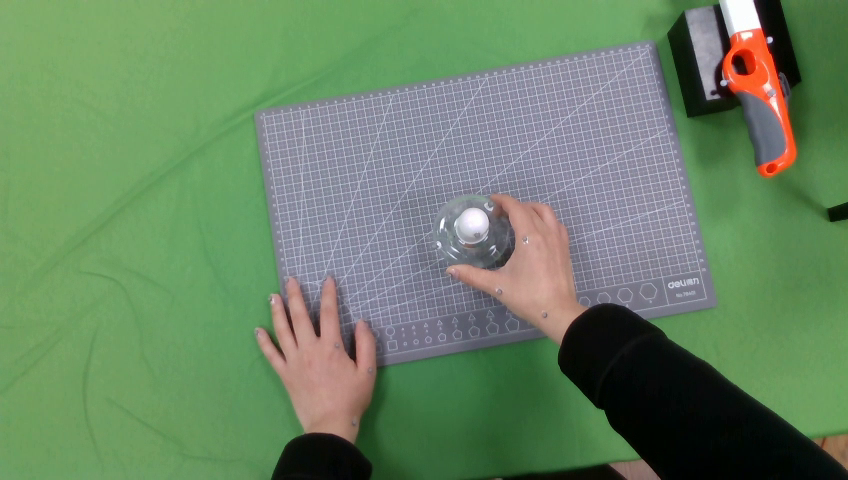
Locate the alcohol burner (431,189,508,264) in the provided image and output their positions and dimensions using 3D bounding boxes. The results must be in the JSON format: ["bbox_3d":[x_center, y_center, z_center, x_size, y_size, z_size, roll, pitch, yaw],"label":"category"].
[{"bbox_3d":[0.044,-0.015,0.592,0.078,0.119,0.077,0,84,3],"label":"alcohol burner"}]

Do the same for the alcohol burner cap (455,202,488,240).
[{"bbox_3d":[0.045,-0.019,0.562,0.034,0.048,0.034,0,84,2],"label":"alcohol burner cap"}]

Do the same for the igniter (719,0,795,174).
[{"bbox_3d":[0.323,-0.201,0.609,0.057,0.025,0.275,-9,81,2],"label":"igniter"}]
